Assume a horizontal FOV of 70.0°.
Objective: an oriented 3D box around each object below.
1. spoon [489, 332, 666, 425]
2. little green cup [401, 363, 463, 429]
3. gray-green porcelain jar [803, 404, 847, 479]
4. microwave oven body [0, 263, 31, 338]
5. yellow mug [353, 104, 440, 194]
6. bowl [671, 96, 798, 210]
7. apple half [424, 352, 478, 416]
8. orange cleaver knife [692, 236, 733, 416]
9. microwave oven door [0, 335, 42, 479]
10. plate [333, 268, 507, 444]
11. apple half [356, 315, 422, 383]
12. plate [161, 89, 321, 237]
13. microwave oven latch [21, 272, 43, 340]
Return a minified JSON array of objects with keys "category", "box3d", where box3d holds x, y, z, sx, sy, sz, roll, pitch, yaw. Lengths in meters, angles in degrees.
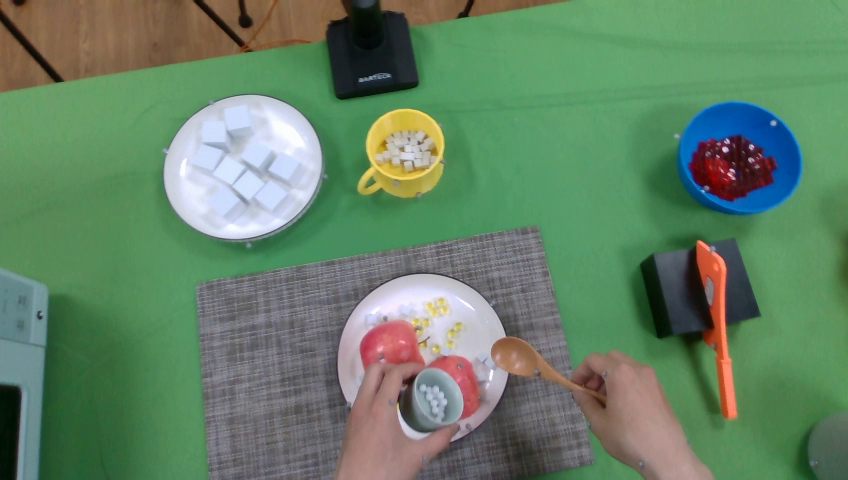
[{"category":"spoon","box3d":[0.152,0.146,0.626,0.192,0.022,0.042,23,102,33]},{"category":"little green cup","box3d":[0.006,0.163,0.627,0.062,0.039,0.061,13,43,-12]},{"category":"gray-green porcelain jar","box3d":[0.494,0.233,0.661,0.106,0.127,0.105,0,74,0]},{"category":"microwave oven body","box3d":[-0.612,0.239,0.592,0.326,0.261,0.439,-7,75,-2]},{"category":"yellow mug","box3d":[-0.041,-0.108,0.792,0.131,0.064,0.099,-41,77,-10]},{"category":"bowl","box3d":[0.384,-0.100,0.780,0.151,0.077,0.150,0,75,1]},{"category":"apple half","box3d":[0.025,0.170,0.717,0.081,0.033,0.081,0,72,1]},{"category":"orange cleaver knife","box3d":[0.341,0.101,0.722,0.012,0.077,0.212,-9,98,2]},{"category":"microwave oven door","box3d":[-0.462,0.262,0.580,0.039,0.245,0.353,-7,74,-1]},{"category":"plate","box3d":[-0.005,0.138,0.733,0.209,0.038,0.208,0,75,0]},{"category":"apple half","box3d":[-0.043,0.129,0.720,0.075,0.053,0.080,-12,75,0]},{"category":"plate","box3d":[-0.238,-0.100,0.806,0.208,0.039,0.206,0,74,1]},{"category":"microwave oven latch","box3d":[-0.485,0.081,0.736,0.030,0.029,0.078,-5,75,-1]}]
